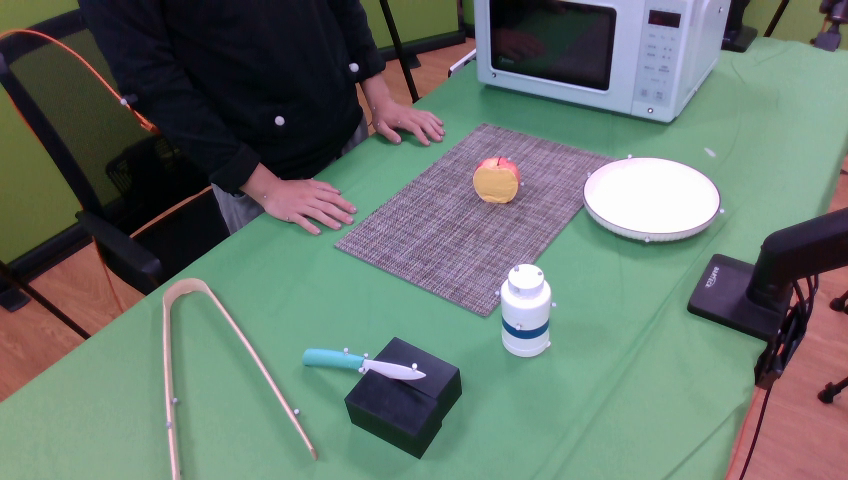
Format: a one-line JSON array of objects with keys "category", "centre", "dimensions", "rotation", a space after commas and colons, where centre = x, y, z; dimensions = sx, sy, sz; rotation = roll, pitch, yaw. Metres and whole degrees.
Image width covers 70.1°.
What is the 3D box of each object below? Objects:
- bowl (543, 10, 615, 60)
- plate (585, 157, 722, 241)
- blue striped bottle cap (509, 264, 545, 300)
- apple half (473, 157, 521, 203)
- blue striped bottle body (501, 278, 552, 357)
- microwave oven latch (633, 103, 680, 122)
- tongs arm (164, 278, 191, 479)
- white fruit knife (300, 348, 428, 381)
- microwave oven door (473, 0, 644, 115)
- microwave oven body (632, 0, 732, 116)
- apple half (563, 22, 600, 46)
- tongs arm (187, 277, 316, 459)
[{"category": "bowl", "centre": [0.335, -0.439, 1.306], "dimensions": [0.151, 0.077, 0.151], "rotation": [-8, 30, 5]}, {"category": "plate", "centre": [0.367, -0.063, 0.979], "dimensions": [0.207, 0.039, 0.206], "rotation": [-4, 41, 4]}, {"category": "blue striped bottle cap", "centre": [0.125, 0.051, 0.735], "dimensions": [0.044, 0.021, 0.044], "rotation": [-5, 39, 5]}, {"category": "apple half", "centre": [0.128, -0.107, 1.030], "dimensions": [0.080, 0.075, 0.053], "rotation": [4, 38, 19]}, {"category": "blue striped bottle body", "centre": [0.130, 0.088, 0.769], "dimensions": [0.063, 0.121, 0.063], "rotation": [-4, 41, 4]}, {"category": "microwave oven latch", "centre": [0.444, -0.249, 1.157], "dimensions": [0.078, 0.029, 0.030], "rotation": [21, 48, 30]}, {"category": "tongs arm", "centre": [-0.313, 0.182, 0.789], "dimensions": [0.051, 0.026, 0.381], "rotation": [-19, 41, -14]}, {"category": "white fruit knife", "centre": [-0.079, 0.154, 0.748], "dimensions": [0.206, 0.027, 0.016], "rotation": [1, 20, 34]}, {"category": "microwave oven door", "centre": [0.257, -0.396, 1.199], "dimensions": [0.353, 0.245, 0.039], "rotation": [21, 48, 29]}, {"category": "microwave oven body", "centre": [0.377, -0.462, 1.267], "dimensions": [0.438, 0.261, 0.327], "rotation": [21, 48, 30]}, {"category": "apple half", "centre": [0.334, -0.447, 1.299], "dimensions": [0.081, 0.033, 0.081], "rotation": [-16, 35, 12]}, {"category": "tongs arm", "centre": [-0.241, 0.154, 0.815], "dimensions": [0.028, 0.028, 0.384], "rotation": [-31, 46, -21]}]
